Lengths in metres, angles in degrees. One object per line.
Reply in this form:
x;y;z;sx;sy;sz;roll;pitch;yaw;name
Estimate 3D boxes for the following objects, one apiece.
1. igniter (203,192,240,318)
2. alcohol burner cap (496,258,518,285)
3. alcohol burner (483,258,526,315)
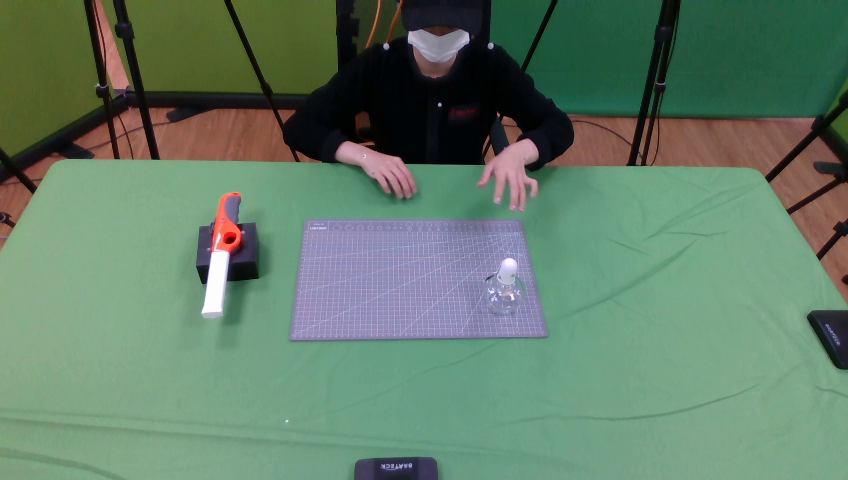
-0.361;0.017;1.084;0.057;0.025;0.274;-2;51;-6;igniter
0.144;0.051;1.041;0.034;0.048;0.033;4;45;-3;alcohol burner cap
0.143;0.076;1.067;0.078;0.120;0.077;1;45;-1;alcohol burner
